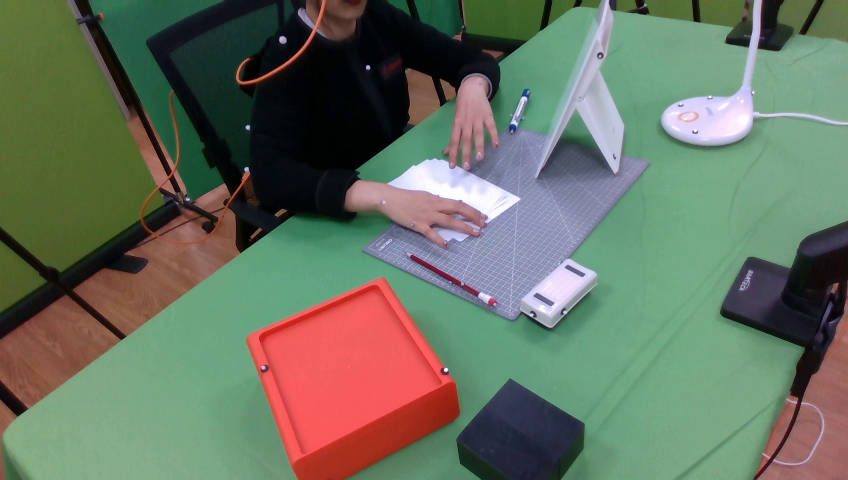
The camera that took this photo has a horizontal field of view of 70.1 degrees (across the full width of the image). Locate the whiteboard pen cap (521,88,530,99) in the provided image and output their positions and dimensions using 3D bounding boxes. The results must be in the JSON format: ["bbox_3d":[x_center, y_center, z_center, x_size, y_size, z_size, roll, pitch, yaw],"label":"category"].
[{"bbox_3d":[0.218,-0.312,1.301,0.018,0.018,0.033,7,47,18],"label":"whiteboard pen cap"}]

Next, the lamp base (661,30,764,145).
[{"bbox_3d":[0.535,-0.287,1.096,0.179,0.181,0.159,-10,40,-4],"label":"lamp base"}]

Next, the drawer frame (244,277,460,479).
[{"bbox_3d":[-0.093,0.167,0.755,0.202,0.083,0.211,-23,43,-17],"label":"drawer frame"}]

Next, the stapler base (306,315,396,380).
[{"bbox_3d":[-0.101,0.138,0.819,0.131,0.024,0.041,-31,37,-13],"label":"stapler base"}]

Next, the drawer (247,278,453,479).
[{"bbox_3d":[-0.096,0.166,0.758,0.195,0.073,0.210,-22,42,-16],"label":"drawer"}]

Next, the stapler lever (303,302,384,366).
[{"bbox_3d":[-0.108,0.123,0.805,0.118,0.040,0.026,-27,36,-15],"label":"stapler lever"}]

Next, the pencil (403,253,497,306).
[{"bbox_3d":[0.034,0.056,0.914,0.192,0.012,0.012,27,52,38],"label":"pencil"}]

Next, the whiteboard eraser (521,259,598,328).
[{"bbox_3d":[0.189,0.075,0.843,0.055,0.042,0.113,29,53,37],"label":"whiteboard eraser"}]

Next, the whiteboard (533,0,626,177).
[{"bbox_3d":[0.321,-0.258,1.050,0.144,0.306,0.217,21,45,5],"label":"whiteboard"}]

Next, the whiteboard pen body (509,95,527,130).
[{"bbox_3d":[0.199,-0.273,1.262,0.017,0.017,0.140,7,44,19],"label":"whiteboard pen body"}]
